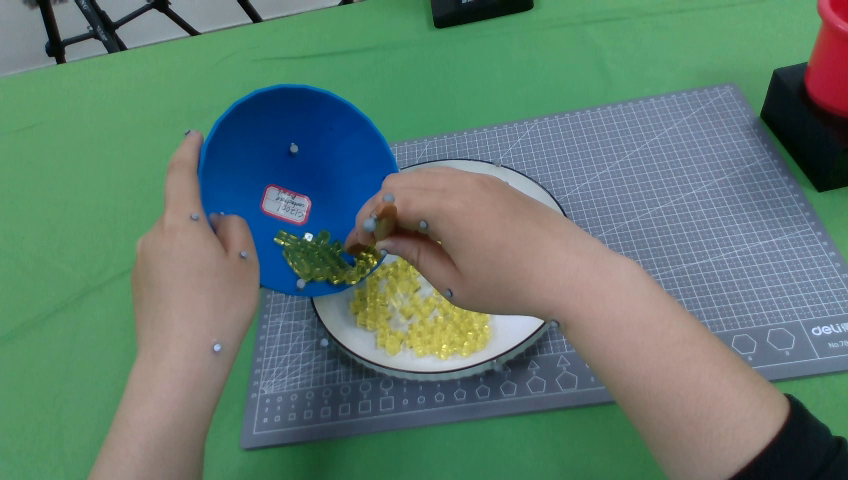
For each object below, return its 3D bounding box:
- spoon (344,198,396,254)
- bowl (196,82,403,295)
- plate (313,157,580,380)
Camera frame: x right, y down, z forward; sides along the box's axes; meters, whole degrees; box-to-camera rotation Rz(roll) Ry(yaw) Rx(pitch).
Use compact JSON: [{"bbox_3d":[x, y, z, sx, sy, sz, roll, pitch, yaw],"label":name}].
[{"bbox_3d":[-0.029,-0.007,0.365,0.041,0.193,0.021,-33,94,-9],"label":"spoon"},{"bbox_3d":[-0.099,-0.033,0.453,0.151,0.152,0.076,-51,22,-26],"label":"bowl"},{"bbox_3d":[0.016,0.019,0.479,0.207,0.039,0.205,-6,51,8],"label":"plate"}]
